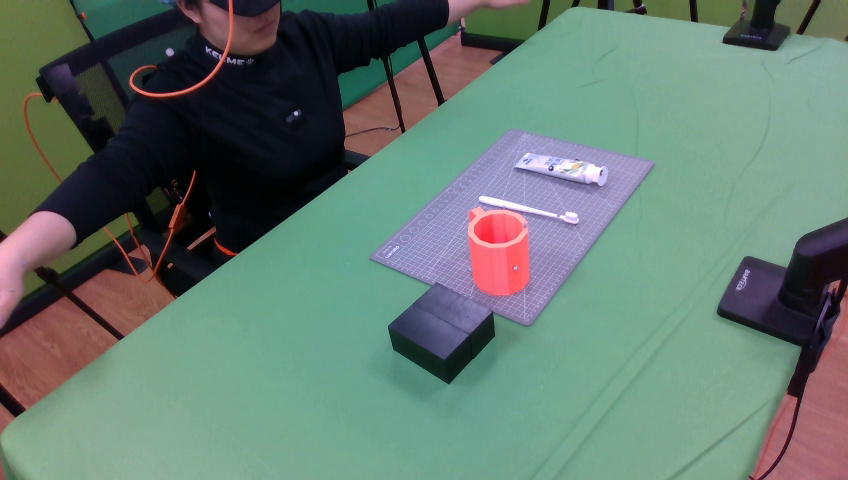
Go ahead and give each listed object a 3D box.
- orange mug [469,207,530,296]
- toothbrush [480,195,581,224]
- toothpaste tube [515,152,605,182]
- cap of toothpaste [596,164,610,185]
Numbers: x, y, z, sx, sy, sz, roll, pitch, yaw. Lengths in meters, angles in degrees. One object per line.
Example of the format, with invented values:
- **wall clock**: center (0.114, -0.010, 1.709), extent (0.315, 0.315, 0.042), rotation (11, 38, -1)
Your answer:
- **orange mug**: center (0.104, 0.008, 0.894), extent (0.084, 0.101, 0.125), rotation (-22, 46, -14)
- **toothbrush**: center (0.175, -0.054, 1.016), extent (0.180, 0.017, 0.014), rotation (15, 59, 29)
- **toothpaste tube**: center (0.248, -0.133, 1.087), extent (0.164, 0.034, 0.055), rotation (17, 42, 34)
- **cap of toothpaste**: center (0.307, -0.113, 1.041), extent (0.011, 0.037, 0.037), rotation (20, 48, 39)
